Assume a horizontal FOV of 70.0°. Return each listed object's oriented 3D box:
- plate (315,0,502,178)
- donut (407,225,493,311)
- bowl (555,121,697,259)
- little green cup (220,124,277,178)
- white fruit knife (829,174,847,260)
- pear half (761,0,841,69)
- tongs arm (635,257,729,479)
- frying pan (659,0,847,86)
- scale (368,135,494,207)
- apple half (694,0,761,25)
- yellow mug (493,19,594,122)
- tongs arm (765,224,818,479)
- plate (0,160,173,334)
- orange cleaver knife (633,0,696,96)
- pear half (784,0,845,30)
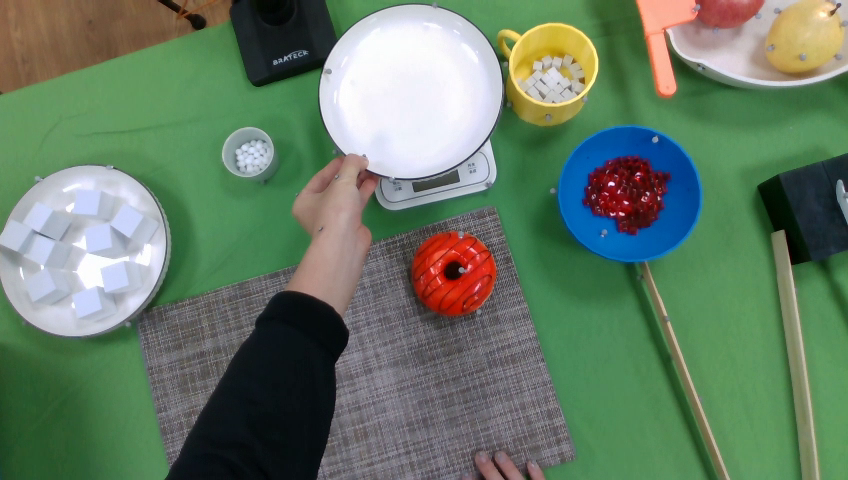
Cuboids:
[{"bbox_3d":[-0.016,-0.167,0.683,0.209,0.038,0.208,-1,80,4],"label":"plate"},{"bbox_3d":[0.029,0.032,0.692,0.099,0.048,0.099,-1,83,5],"label":"donut"},{"bbox_3d":[0.217,-0.049,0.680,0.151,0.077,0.151,0,83,3],"label":"bowl"},{"bbox_3d":[-0.209,-0.105,0.731,0.061,0.039,0.061,-1,81,4],"label":"little green cup"},{"bbox_3d":[0.468,0.028,0.654,0.016,0.027,0.207,-19,96,1],"label":"white fruit knife"},{"bbox_3d":[0.423,-0.228,0.673,0.076,0.110,0.056,19,84,10],"label":"pear half"},{"bbox_3d":[0.318,0.190,0.662,0.051,0.026,0.383,-16,82,-5],"label":"tongs arm"},{"bbox_3d":[0.460,-0.241,0.680,0.307,0.103,0.485,-44,74,-2],"label":"frying pan"},{"bbox_3d":[-0.006,-0.150,0.730,0.148,0.031,0.200,-13,82,2],"label":"scale"},{"bbox_3d":[0.344,-0.280,0.703,0.081,0.075,0.053,25,87,4],"label":"apple half"},{"bbox_3d":[0.132,-0.207,0.713,0.130,0.064,0.100,40,87,9],"label":"yellow mug"},{"bbox_3d":[0.403,0.174,0.665,0.028,0.028,0.386,-1,82,-6],"label":"tongs arm"},{"bbox_3d":[-0.399,0.008,0.726,0.207,0.039,0.207,0,82,3],"label":"plate"},{"bbox_3d":[0.261,-0.266,0.677,0.077,0.012,0.210,-12,82,4],"label":"orange cleaver knife"},{"bbox_3d":[0.439,-0.258,0.686,0.070,0.088,0.031,14,82,11],"label":"pear half"}]
